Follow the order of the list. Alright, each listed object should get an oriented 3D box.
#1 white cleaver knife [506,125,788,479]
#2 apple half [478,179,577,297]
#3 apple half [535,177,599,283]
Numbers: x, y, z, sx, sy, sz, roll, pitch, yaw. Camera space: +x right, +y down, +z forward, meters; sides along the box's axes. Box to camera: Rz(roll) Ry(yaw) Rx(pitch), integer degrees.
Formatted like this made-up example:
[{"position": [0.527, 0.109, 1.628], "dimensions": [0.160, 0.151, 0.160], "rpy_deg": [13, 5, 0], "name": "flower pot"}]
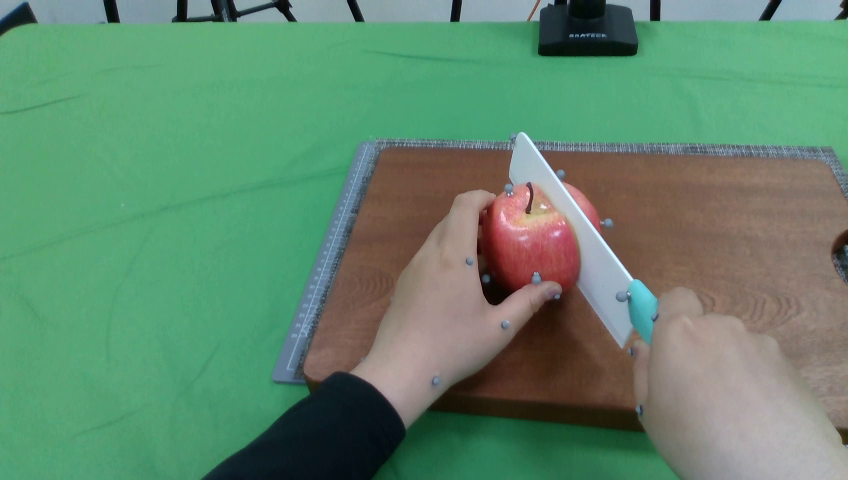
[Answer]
[{"position": [0.118, 0.031, 0.376], "dimensions": [0.021, 0.066, 0.283], "rpy_deg": [-18, 53, -9], "name": "white cleaver knife"}, {"position": [0.066, 0.004, 0.427], "dimensions": [0.053, 0.075, 0.080], "rpy_deg": [-22, 49, -8], "name": "apple half"}, {"position": [0.104, -0.009, 0.435], "dimensions": [0.033, 0.082, 0.080], "rpy_deg": [-18, 46, -13], "name": "apple half"}]
